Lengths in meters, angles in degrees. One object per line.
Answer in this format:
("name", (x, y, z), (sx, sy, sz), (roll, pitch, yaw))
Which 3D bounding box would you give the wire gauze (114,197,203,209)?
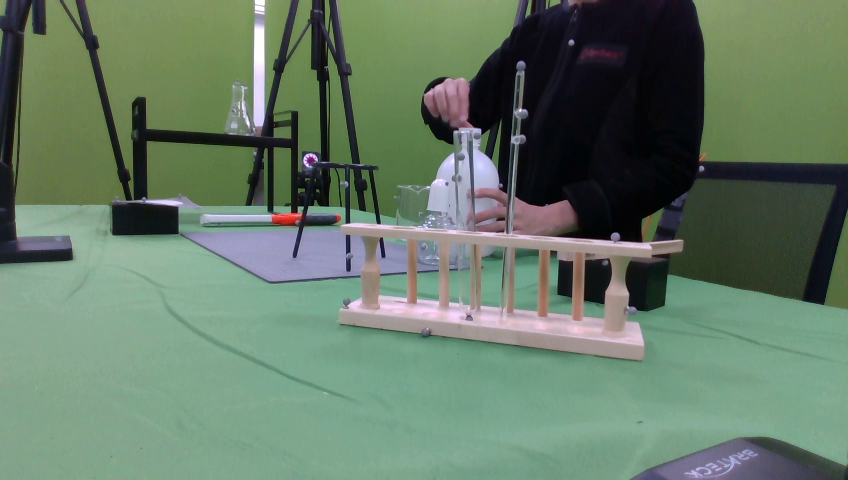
("wire gauze", (-0.447, -0.062, 1.015), (0.126, 0.011, 0.121), (-2, 8, -31))

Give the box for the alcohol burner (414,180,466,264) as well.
("alcohol burner", (0.021, -0.028, 0.826), (0.078, 0.119, 0.078), (0, 6, 0))

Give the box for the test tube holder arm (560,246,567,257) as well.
("test tube holder arm", (0.173, 0.007, 0.612), (0.088, 0.015, 0.010), (-3, 9, -30))

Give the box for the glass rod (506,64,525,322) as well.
("glass rod", (0.069, -0.030, 0.458), (0.008, 0.199, 0.008), (0, 15, 0))

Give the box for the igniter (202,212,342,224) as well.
("igniter", (-0.298, -0.044, 1.216), (0.278, 0.025, 0.057), (-2, -2, -32))

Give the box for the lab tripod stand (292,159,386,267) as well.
("lab tripod stand", (-0.105, -0.039, 0.798), (0.148, 0.131, 0.148), (2, 5, 0))

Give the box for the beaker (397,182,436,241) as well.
("beaker", (-0.012, -0.050, 1.072), (0.074, 0.100, 0.084), (1, 8, -4))

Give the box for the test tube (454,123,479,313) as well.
("test tube", (0.034, -0.016, 0.477), (0.017, 0.150, 0.017), (-2, 9, 1))

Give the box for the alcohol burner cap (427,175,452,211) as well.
("alcohol burner cap", (0.023, -0.064, 0.822), (0.034, 0.048, 0.034), (7, 4, 0))

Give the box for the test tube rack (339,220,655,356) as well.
("test tube rack", (0.056, 0.032, 0.495), (0.242, 0.085, 0.067), (4, 7, 15))

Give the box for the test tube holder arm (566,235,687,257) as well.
("test tube holder arm", (0.215, 0.006, 0.630), (0.179, 0.015, 0.013), (-3, 9, -31))

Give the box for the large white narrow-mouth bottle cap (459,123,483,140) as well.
("large white narrow-mouth bottle cap", (0.072, -0.165, 0.924), (0.038, 0.024, 0.037), (2, 8, 0))

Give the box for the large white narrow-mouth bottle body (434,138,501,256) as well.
("large white narrow-mouth bottle body", (0.069, -0.078, 0.937), (0.102, 0.194, 0.102), (2, 8, 0))

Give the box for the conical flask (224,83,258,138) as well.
("conical flask", (-0.422, -0.299, 1.395), (0.075, 0.122, 0.075), (2, 7, 0))
